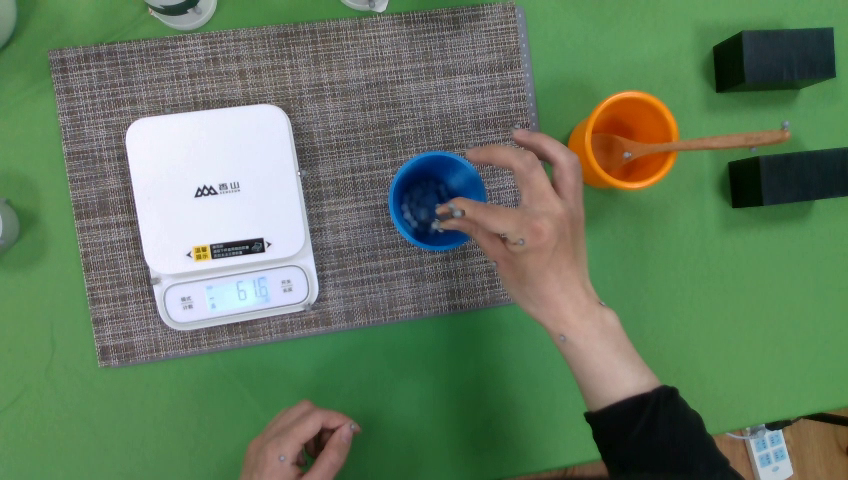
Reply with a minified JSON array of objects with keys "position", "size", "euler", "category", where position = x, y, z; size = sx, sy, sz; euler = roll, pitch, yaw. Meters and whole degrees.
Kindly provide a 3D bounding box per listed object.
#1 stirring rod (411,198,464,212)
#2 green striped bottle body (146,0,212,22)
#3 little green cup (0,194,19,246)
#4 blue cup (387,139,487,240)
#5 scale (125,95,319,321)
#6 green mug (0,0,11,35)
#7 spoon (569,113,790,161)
[{"position":[0.008,-0.028,0.505],"size":[0.014,0.175,0.006],"euler":[-14,94,-9],"category":"stirring rod"},{"position":[-0.225,-0.236,0.518],"size":[0.063,0.119,0.063],"euler":[0,92,-7],"category":"green striped bottle body"},{"position":[-0.402,-0.018,0.545],"size":[0.062,0.038,0.061],"euler":[0,92,-8],"category":"little green cup"},{"position":[0.007,-0.044,0.559],"size":[0.093,0.100,0.092],"euler":[0,93,-6],"category":"blue cup"},{"position":[-0.187,-0.030,0.571],"size":[0.149,0.031,0.201],"euler":[-10,94,-6],"category":"scale"},{"position":[-0.423,-0.198,0.503],"size":[0.093,0.104,0.125],"euler":[26,89,-7],"category":"green mug"},{"position":[0.229,-0.099,0.564],"size":[0.022,0.192,0.042],"euler":[-14,102,-50],"category":"spoon"}]
